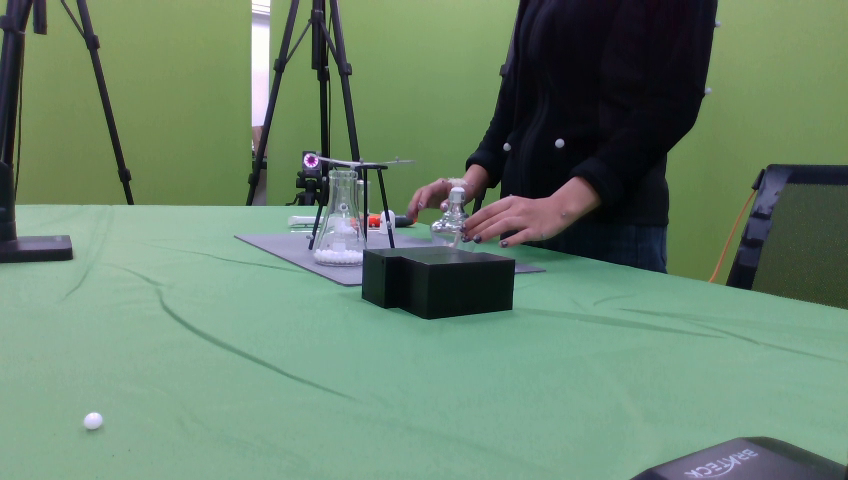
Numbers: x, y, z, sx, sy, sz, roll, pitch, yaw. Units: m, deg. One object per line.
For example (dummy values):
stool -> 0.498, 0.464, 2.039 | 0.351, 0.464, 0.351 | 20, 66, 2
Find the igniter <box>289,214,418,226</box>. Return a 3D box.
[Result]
igniter -> -0.141, -0.042, 1.258 | 0.278, 0.025, 0.057 | -1, -2, -30

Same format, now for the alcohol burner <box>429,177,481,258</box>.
alcohol burner -> 0.047, -0.034, 0.897 | 0.078, 0.119, 0.078 | 2, 9, 0

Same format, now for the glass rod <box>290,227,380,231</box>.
glass rod -> -0.161, -0.022, 1.177 | 0.201, 0.008, 0.008 | -2, 8, -28

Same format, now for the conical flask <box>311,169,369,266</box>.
conical flask -> -0.107, -0.031, 0.786 | 0.075, 0.122, 0.075 | 2, 8, 0

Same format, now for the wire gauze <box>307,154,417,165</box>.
wire gauze -> -0.094, -0.120, 0.913 | 0.122, 0.011, 0.124 | -5, 11, -45

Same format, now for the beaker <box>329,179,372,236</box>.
beaker -> -0.137, -0.061, 1.101 | 0.084, 0.100, 0.074 | 4, 7, 20

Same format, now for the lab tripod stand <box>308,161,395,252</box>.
lab tripod stand -> -0.098, -0.053, 0.919 | 0.148, 0.131, 0.148 | 4, 7, 0

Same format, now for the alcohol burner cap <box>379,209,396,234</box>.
alcohol burner cap -> -0.069, -0.036, 1.154 | 0.034, 0.048, 0.034 | 2, 7, 0
